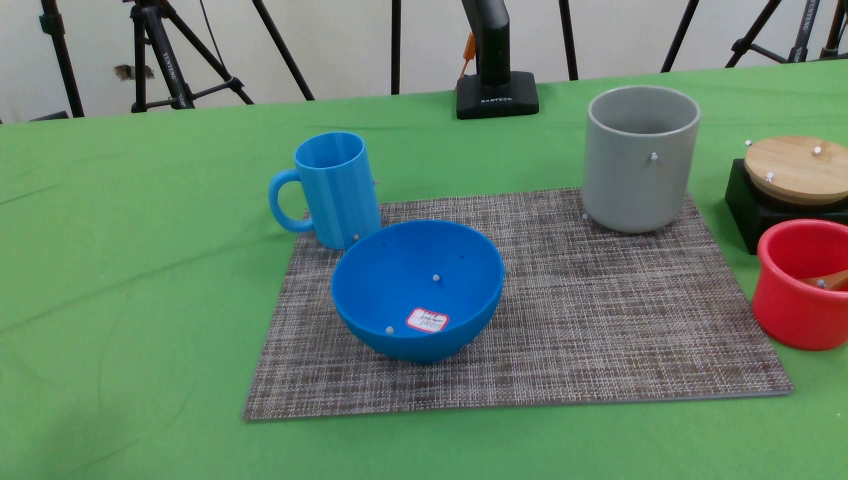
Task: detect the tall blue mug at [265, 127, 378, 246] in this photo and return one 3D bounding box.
[{"bbox_3d":[-0.108,-0.050,0.658,0.107,0.109,0.077,-34,47,-28],"label":"tall blue mug"}]

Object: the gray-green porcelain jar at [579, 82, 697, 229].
[{"bbox_3d":[0.217,-0.083,0.631,0.106,0.128,0.105,-5,40,4],"label":"gray-green porcelain jar"}]

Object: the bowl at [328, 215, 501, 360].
[{"bbox_3d":[-0.005,0.054,0.541,0.151,0.077,0.150,-4,40,4],"label":"bowl"}]

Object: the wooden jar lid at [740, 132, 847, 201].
[{"bbox_3d":[0.373,-0.073,0.604,0.108,0.021,0.107,-5,39,5],"label":"wooden jar lid"}]

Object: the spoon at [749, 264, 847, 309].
[{"bbox_3d":[0.356,0.019,0.478,0.022,0.193,0.041,47,48,-8],"label":"spoon"}]
